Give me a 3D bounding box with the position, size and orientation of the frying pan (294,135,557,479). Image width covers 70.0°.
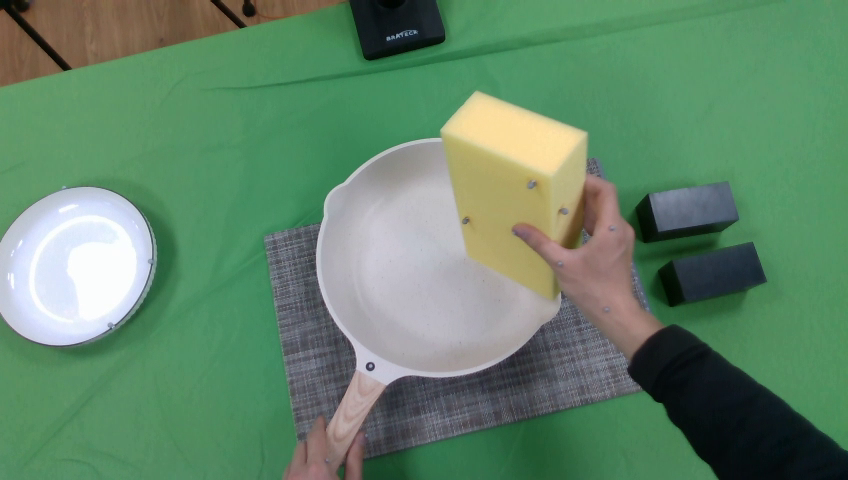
[{"bbox_3d":[-0.036,0.102,0.701,0.306,0.103,0.486,27,69,10],"label":"frying pan"}]

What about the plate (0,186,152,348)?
[{"bbox_3d":[-0.445,0.035,0.769,0.208,0.039,0.206,0,75,1],"label":"plate"}]

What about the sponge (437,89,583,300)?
[{"bbox_3d":[0.090,-0.038,0.613,0.117,0.209,0.061,27,64,28],"label":"sponge"}]
